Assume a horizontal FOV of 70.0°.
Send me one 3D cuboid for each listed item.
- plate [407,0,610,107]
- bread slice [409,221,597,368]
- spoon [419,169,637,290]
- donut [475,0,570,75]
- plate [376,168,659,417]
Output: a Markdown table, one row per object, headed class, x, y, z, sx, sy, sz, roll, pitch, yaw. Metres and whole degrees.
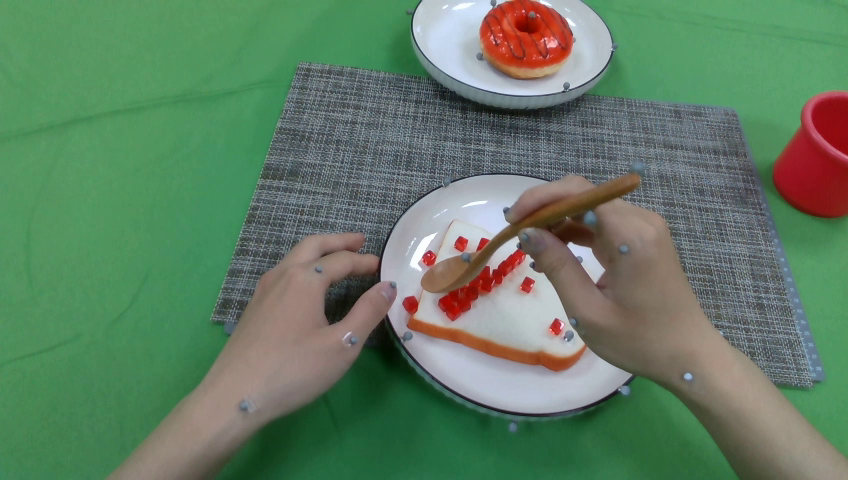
| class | x | y | z | sx | sy | sz | roll | pitch | yaw |
| --- | --- | --- | --- | --- | --- | --- | --- | --- | --- |
| plate | 0.085 | -0.204 | 0.629 | 0.208 | 0.039 | 0.205 | 3 | 53 | -3 |
| bread slice | 0.065 | 0.039 | 0.460 | 0.131 | 0.019 | 0.104 | 14 | 56 | 9 |
| spoon | 0.049 | -0.003 | 0.359 | 0.022 | 0.194 | 0.041 | 47 | 58 | -5 |
| donut | 0.101 | -0.209 | 0.619 | 0.099 | 0.048 | 0.098 | 3 | 56 | -4 |
| plate | 0.068 | 0.034 | 0.458 | 0.209 | 0.038 | 0.207 | 2 | 55 | -3 |
